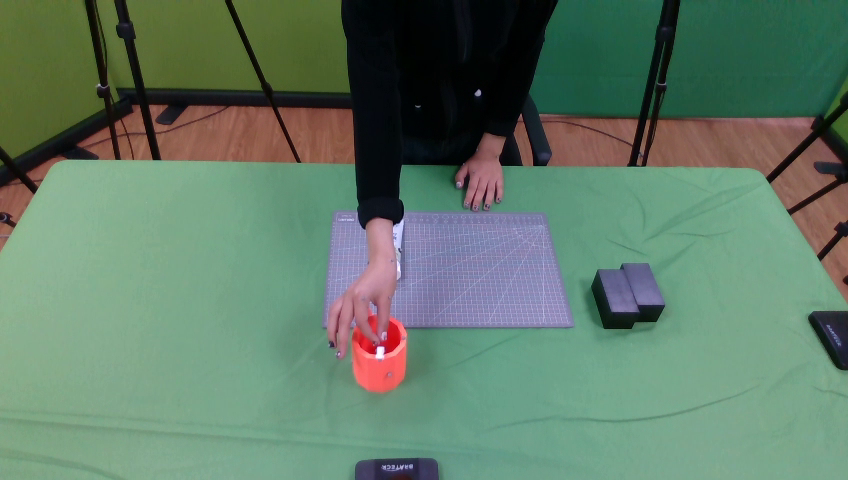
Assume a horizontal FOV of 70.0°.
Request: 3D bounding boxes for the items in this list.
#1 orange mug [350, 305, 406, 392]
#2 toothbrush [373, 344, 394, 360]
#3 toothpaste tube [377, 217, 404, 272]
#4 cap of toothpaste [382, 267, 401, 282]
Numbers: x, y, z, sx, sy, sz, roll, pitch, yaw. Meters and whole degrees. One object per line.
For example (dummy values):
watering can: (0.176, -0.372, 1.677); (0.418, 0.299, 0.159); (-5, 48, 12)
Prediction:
orange mug: (-0.080, 0.168, 0.978); (0.083, 0.101, 0.125); (-16, 54, -18)
toothbrush: (-0.061, 0.167, 0.925); (0.014, 0.182, 0.016); (-18, 83, 1)
toothpaste tube: (-0.063, 0.008, 1.179); (0.055, 0.034, 0.164); (5, 42, -9)
cap of toothpaste: (-0.060, 0.063, 1.119); (0.037, 0.037, 0.011); (-9, 50, -12)
